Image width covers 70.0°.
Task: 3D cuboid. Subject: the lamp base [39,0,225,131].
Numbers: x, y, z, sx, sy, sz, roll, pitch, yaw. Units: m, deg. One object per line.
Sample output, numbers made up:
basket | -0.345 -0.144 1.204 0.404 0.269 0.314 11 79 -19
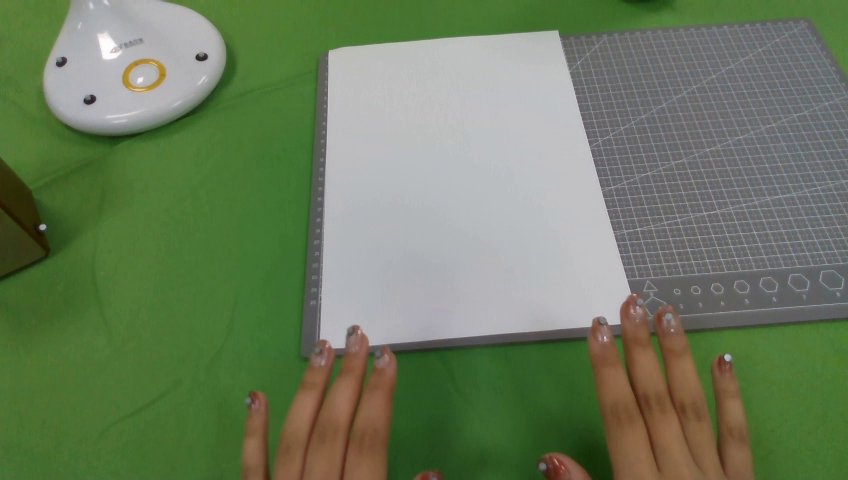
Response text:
lamp base | -0.273 -0.207 0.485 0.160 0.182 0.177 -38 60 -20

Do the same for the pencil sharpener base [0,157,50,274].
pencil sharpener base | -0.324 -0.032 0.418 0.061 0.108 0.076 -29 60 -14
